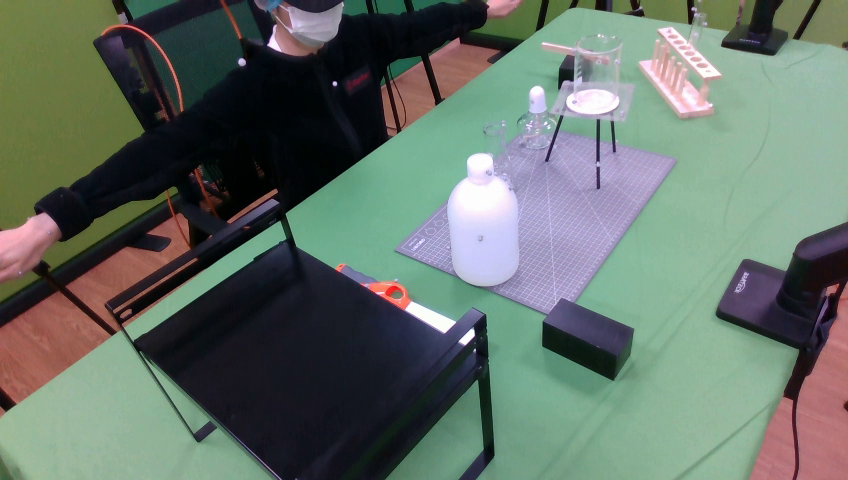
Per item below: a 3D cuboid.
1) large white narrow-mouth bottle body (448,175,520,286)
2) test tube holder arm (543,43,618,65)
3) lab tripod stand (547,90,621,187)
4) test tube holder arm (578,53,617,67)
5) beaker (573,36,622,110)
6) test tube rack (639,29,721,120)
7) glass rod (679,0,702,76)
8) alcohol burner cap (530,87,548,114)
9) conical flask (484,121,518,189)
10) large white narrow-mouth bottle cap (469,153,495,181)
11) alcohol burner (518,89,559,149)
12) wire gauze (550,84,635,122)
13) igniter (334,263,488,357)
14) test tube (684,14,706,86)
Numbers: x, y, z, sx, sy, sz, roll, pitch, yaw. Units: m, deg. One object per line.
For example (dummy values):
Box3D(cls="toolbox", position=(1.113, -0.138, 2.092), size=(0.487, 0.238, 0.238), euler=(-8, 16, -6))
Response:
Box3D(cls="large white narrow-mouth bottle body", position=(0.086, -0.032, 0.868), size=(0.102, 0.195, 0.101), euler=(-4, 40, 4))
Box3D(cls="test tube holder arm", position=(0.345, -0.413, 1.340), size=(0.177, 0.015, 0.013), euler=(25, 49, 32))
Box3D(cls="lab tripod stand", position=(0.289, -0.184, 1.062), size=(0.148, 0.132, 0.147), euler=(-6, 41, 6))
Box3D(cls="test tube holder arm", position=(0.376, -0.393, 1.314), size=(0.087, 0.015, 0.010), euler=(25, 49, 32))
Box3D(cls="beaker", position=(0.283, -0.273, 0.990), size=(0.073, 0.101, 0.084), euler=(16, 46, 28))
Box3D(cls="test tube rack", position=(0.527, -0.351, 1.262), size=(0.067, 0.085, 0.241), euler=(-8, 40, 1))
Box3D(cls="glass rod", position=(0.543, -0.417, 1.233), size=(0.008, 0.200, 0.008), euler=(1, 39, 0))
Box3D(cls="alcohol burner cap", position=(0.212, -0.262, 1.126), size=(0.034, 0.048, 0.033), euler=(-8, 37, 7))
Box3D(cls="conical flask", position=(0.126, -0.145, 1.051), size=(0.075, 0.122, 0.075), euler=(-5, 41, 4))
Box3D(cls="large white narrow-mouth bottle cap", position=(0.078, -0.098, 0.812), size=(0.038, 0.024, 0.037), euler=(-4, 40, 4))
Box3D(cls="alcohol burner", position=(0.218, -0.235, 1.149), size=(0.078, 0.119, 0.077), euler=(-5, 43, 5))
Box3D(cls="wire gauze", position=(0.285, -0.234, 1.021), size=(0.124, 0.011, 0.121), euler=(8, 41, 23))
Box3D(cls="igniter", position=(-0.030, 0.095, 0.872), size=(0.274, 0.025, 0.057), euler=(23, 60, 31))
Box3D(cls="test tube", position=(0.540, -0.378, 1.215), size=(0.017, 0.151, 0.017), euler=(-2, 44, 3))
